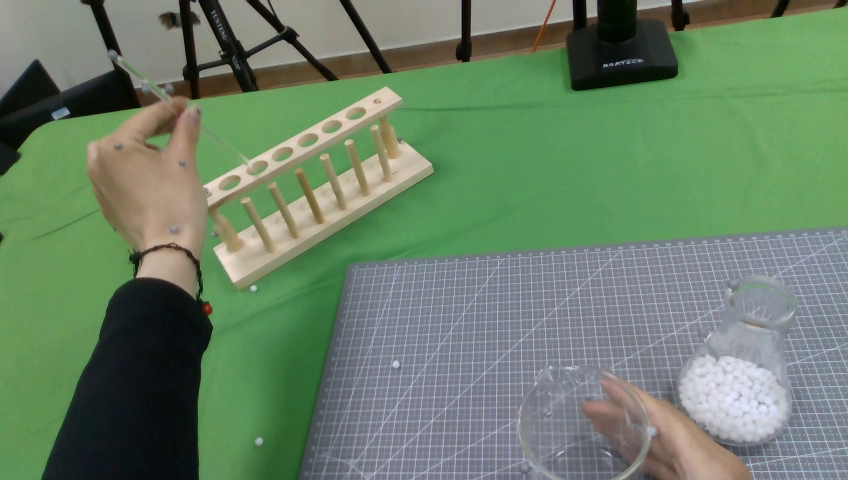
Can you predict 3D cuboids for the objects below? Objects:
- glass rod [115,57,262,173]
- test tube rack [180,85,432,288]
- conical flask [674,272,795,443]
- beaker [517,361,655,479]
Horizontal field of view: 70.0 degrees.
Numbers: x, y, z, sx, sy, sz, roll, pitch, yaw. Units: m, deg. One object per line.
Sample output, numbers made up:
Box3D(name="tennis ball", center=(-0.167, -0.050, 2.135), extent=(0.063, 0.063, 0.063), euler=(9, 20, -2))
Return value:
Box3D(name="glass rod", center=(-0.192, -0.098, 0.526), extent=(0.008, 0.201, 0.008), euler=(-6, 70, 16))
Box3D(name="test tube rack", center=(-0.116, -0.059, 0.632), extent=(0.242, 0.086, 0.066), euler=(-33, 48, -14))
Box3D(name="conical flask", center=(0.205, 0.072, 0.390), extent=(0.075, 0.123, 0.074), euler=(-8, 47, 9))
Box3D(name="beaker", center=(0.099, 0.133, 0.381), extent=(0.074, 0.101, 0.083), euler=(-23, 46, -5))
